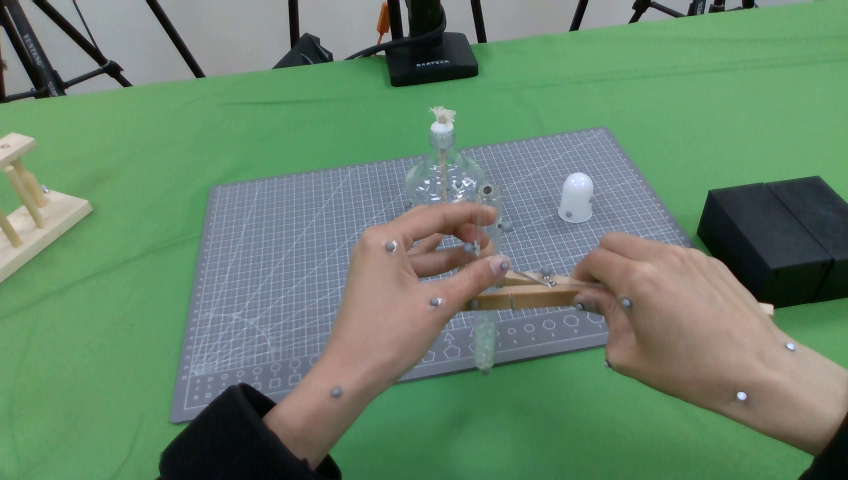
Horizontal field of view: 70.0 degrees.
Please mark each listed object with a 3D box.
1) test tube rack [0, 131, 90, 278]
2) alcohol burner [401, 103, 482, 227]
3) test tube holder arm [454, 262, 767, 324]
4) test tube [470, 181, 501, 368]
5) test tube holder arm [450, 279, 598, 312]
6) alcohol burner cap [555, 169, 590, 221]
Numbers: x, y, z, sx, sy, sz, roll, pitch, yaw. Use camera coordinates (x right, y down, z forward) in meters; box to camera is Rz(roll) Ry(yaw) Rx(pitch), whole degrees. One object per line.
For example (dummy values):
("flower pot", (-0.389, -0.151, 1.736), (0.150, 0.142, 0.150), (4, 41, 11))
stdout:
("test tube rack", (-0.438, 0.004, 0.552), (0.066, 0.086, 0.241), (15, 46, 20))
("alcohol burner", (0.015, -0.072, 0.564), (0.078, 0.120, 0.077), (-3, 41, 3))
("test tube holder arm", (0.104, 0.030, 0.360), (0.178, 0.015, 0.013), (6, 45, 17))
("test tube", (0.037, 0.029, 0.379), (0.017, 0.151, 0.017), (-1, 39, 1))
("test tube holder arm", (0.060, 0.033, 0.367), (0.088, 0.015, 0.010), (-6, 42, 6))
("alcohol burner cap", (0.142, -0.045, 0.576), (0.034, 0.048, 0.033), (-3, 42, 3))
